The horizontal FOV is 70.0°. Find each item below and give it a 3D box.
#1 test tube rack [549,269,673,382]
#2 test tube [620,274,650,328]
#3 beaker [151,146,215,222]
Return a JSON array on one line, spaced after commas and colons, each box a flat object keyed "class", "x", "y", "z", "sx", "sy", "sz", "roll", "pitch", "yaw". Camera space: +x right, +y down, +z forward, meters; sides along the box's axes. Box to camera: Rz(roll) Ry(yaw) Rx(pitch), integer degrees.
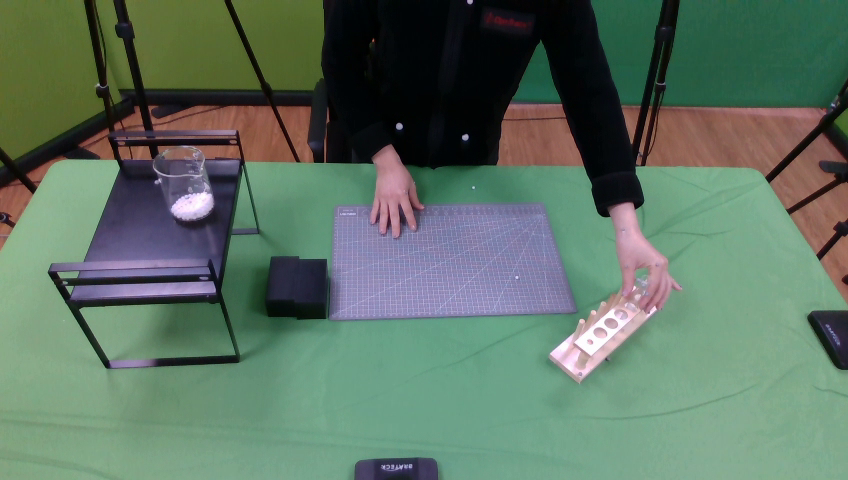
[{"class": "test tube rack", "x": 0.325, "y": 0.134, "z": 1.048, "sx": 0.242, "sy": 0.085, "sz": 0.066, "roll": -32, "pitch": 55, "yaw": -30}, {"class": "test tube", "x": 0.347, "y": 0.105, "z": 1.008, "sx": 0.017, "sy": 0.151, "sz": 0.017, "roll": 1, "pitch": 52, "yaw": -1}, {"class": "beaker", "x": -0.370, "y": -0.084, "z": 0.948, "sx": 0.083, "sy": 0.101, "sz": 0.074, "roll": 27, "pitch": 50, "yaw": 19}]
